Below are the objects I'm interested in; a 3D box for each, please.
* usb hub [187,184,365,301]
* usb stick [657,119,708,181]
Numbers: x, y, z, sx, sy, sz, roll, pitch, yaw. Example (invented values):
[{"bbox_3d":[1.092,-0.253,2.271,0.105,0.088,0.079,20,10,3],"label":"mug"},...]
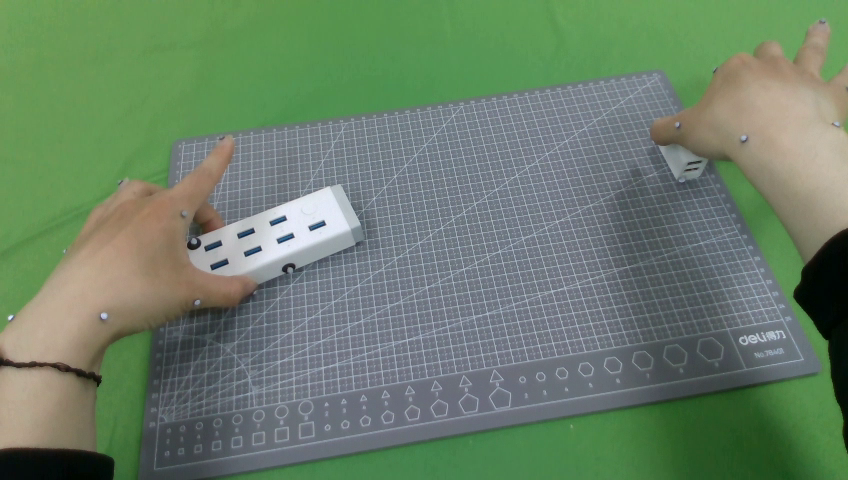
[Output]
[{"bbox_3d":[-0.112,0.000,0.464,0.125,0.025,0.049,-21,61,-12],"label":"usb hub"},{"bbox_3d":[0.208,-0.079,0.495,0.021,0.027,0.058,-8,55,-2],"label":"usb stick"}]
